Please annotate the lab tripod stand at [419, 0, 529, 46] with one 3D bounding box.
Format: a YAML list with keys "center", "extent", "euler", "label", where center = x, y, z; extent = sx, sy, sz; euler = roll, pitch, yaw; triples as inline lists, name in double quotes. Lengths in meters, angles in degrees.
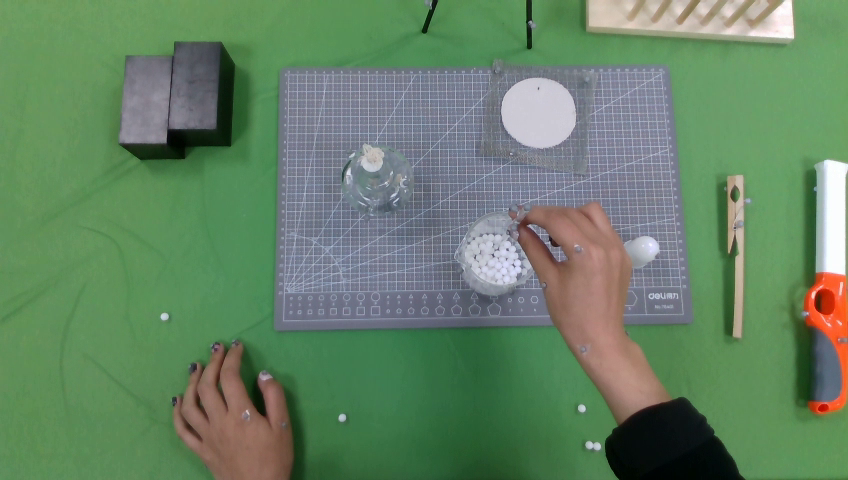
- center: [0.064, -0.283, 0.654]
  extent: [0.148, 0.132, 0.148]
  euler: [0, 81, -1]
  label: "lab tripod stand"

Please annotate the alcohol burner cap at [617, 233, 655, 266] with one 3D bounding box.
- center: [0.230, 0.008, 0.649]
  extent: [0.034, 0.048, 0.033]
  euler: [0, 79, -1]
  label: "alcohol burner cap"

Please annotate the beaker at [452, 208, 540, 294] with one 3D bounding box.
- center: [0.068, 0.016, 0.615]
  extent: [0.084, 0.100, 0.073]
  euler: [-9, 79, -2]
  label: "beaker"

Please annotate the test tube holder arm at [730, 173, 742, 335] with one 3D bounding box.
- center: [0.341, 0.014, 0.664]
  extent: [0.013, 0.015, 0.177]
  euler: [-4, 78, 34]
  label: "test tube holder arm"

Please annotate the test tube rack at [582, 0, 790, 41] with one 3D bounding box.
- center: [0.310, -0.282, 0.684]
  extent: [0.242, 0.085, 0.066]
  euler: [3, 79, -1]
  label: "test tube rack"

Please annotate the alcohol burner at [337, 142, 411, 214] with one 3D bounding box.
- center: [-0.053, -0.068, 0.619]
  extent: [0.078, 0.119, 0.077]
  euler: [0, 78, 1]
  label: "alcohol burner"

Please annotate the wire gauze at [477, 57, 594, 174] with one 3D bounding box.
- center: [0.128, -0.145, 0.691]
  extent: [0.125, 0.011, 0.121]
  euler: [10, 81, 0]
  label: "wire gauze"

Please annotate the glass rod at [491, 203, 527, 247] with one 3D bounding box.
- center: [0.075, -0.011, 0.560]
  extent: [0.008, 0.200, 0.008]
  euler: [0, 81, 0]
  label: "glass rod"

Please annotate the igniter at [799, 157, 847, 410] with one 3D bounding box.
- center: [0.435, 0.045, 0.657]
  extent: [0.057, 0.025, 0.275]
  euler: [9, 80, -10]
  label: "igniter"

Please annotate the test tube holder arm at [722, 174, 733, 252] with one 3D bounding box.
- center: [0.339, -0.030, 0.674]
  extent: [0.010, 0.015, 0.087]
  euler: [-3, 78, 34]
  label: "test tube holder arm"
